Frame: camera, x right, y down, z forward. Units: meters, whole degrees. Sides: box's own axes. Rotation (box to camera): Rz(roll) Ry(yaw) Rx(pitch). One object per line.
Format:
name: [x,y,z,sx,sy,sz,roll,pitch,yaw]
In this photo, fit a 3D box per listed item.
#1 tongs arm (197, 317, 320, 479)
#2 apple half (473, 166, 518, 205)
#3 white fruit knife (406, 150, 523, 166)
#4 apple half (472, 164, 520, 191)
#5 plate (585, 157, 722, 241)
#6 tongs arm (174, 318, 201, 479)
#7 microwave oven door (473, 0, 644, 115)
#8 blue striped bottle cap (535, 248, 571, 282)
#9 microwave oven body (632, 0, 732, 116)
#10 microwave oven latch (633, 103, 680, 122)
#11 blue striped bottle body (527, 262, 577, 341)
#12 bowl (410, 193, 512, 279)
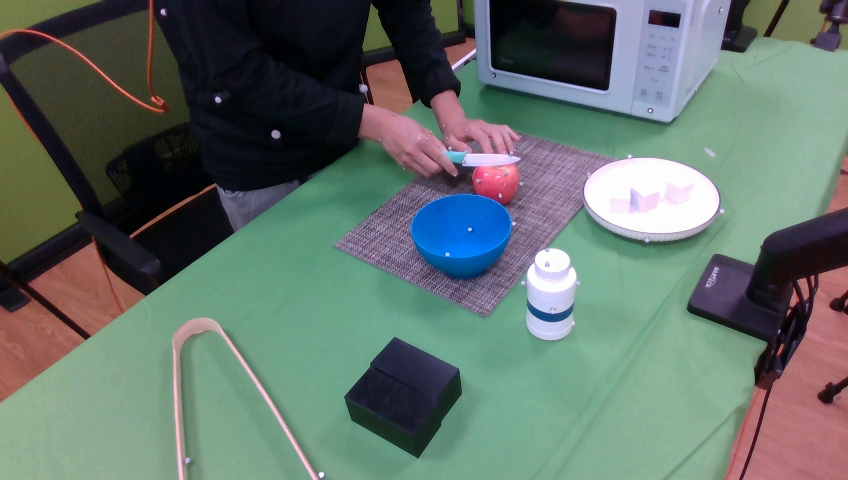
tongs arm: [-0.199,0.206,0.750,0.028,0.028,0.384,-31,45,-22]
apple half: [0.114,-0.084,1.004,0.081,0.081,0.033,10,37,20]
white fruit knife: [0.064,-0.136,1.007,0.206,0.027,0.016,3,28,22]
apple half: [0.127,-0.108,1.032,0.080,0.075,0.053,7,37,22]
plate: [0.367,-0.063,0.979,0.207,0.039,0.206,-4,40,4]
tongs arm: [-0.272,0.234,0.723,0.051,0.026,0.381,-19,40,-14]
microwave oven door: [0.257,-0.396,1.199,0.353,0.245,0.039,21,48,29]
blue striped bottle cap: [0.161,0.031,0.753,0.044,0.021,0.044,-4,42,4]
microwave oven body: [0.377,-0.463,1.267,0.438,0.261,0.327,21,49,30]
microwave oven latch: [0.444,-0.249,1.158,0.078,0.029,0.030,21,49,30]
blue striped bottle body: [0.165,0.070,0.786,0.063,0.121,0.063,-5,41,4]
bowl: [0.058,0.005,0.905,0.151,0.077,0.150,-4,40,4]
